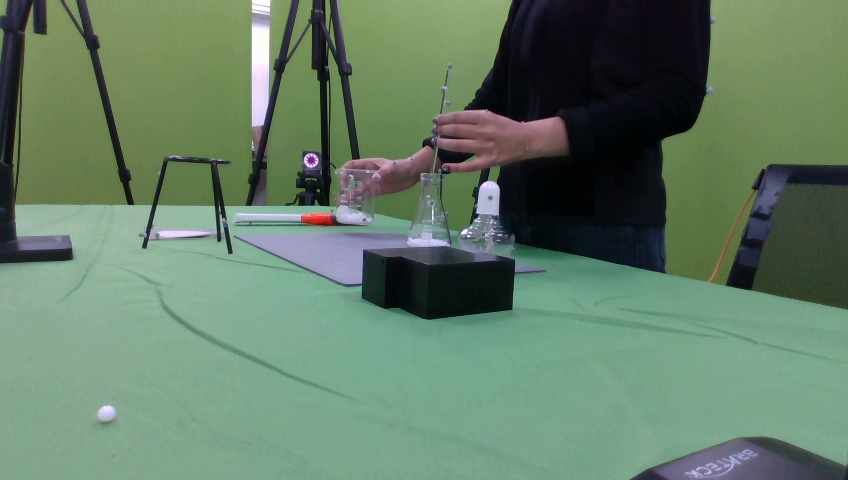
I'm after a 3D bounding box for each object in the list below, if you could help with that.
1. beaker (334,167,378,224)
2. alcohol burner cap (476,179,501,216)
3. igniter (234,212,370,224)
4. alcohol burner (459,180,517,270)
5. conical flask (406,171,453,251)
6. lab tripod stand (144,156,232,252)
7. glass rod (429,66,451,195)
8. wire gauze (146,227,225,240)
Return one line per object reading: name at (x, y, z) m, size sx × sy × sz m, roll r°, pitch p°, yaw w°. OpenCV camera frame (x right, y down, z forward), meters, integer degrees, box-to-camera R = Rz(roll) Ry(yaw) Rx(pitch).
beaker at (-0.128, -0.082, 1.106) m, size 0.084 × 0.100 × 0.074 m, roll 4°, pitch 6°, yaw 19°
alcohol burner cap at (0.086, -0.057, 0.801) m, size 0.034 × 0.048 × 0.034 m, roll 4°, pitch 3°, yaw 0°
igniter at (-0.247, -0.046, 1.253) m, size 0.278 × 0.025 × 0.057 m, roll -1°, pitch -2°, yaw -27°
alcohol burner at (0.086, -0.021, 0.806) m, size 0.078 × 0.119 × 0.078 m, roll 3°, pitch 9°, yaw 0°
conical flask at (0.011, -0.046, 0.948) m, size 0.075 × 0.122 × 0.075 m, roll 2°, pitch 7°, yaw 0°
lab tripod stand at (-0.325, -0.054, 0.881) m, size 0.148 × 0.131 × 0.148 m, roll 4°, pitch 7°, yaw 0°
glass rod at (0.023, -0.161, 0.915) m, size 0.008 × 0.199 × 0.008 m, roll 7°, pitch 23°, yaw -3°
wire gauze at (-0.400, -0.012, 1.019) m, size 0.122 × 0.011 × 0.124 m, roll -1°, pitch 6°, yaw -26°
